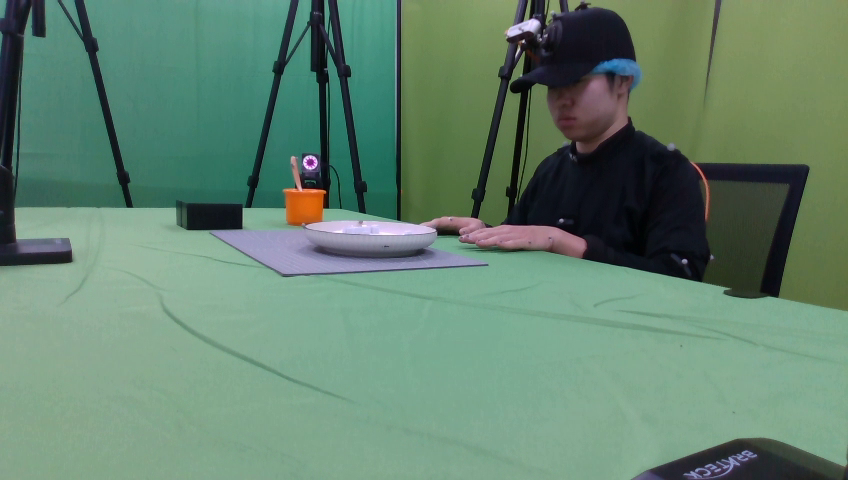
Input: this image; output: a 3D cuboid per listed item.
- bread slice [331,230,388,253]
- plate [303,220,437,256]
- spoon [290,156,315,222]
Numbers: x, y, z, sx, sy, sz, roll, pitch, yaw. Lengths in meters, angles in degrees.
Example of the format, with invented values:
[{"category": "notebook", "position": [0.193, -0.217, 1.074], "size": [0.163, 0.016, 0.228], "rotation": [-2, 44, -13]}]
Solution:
[{"category": "bread slice", "position": [-0.088, 0.000, 0.947], "size": [0.105, 0.019, 0.131], "rotation": [-4, 11, -44]}, {"category": "plate", "position": [-0.084, -0.003, 0.951], "size": [0.209, 0.038, 0.209], "rotation": [3, 7, 0]}, {"category": "spoon", "position": [-0.274, -0.116, 1.329], "size": [0.042, 0.021, 0.193], "rotation": [-3, 49, -25]}]
